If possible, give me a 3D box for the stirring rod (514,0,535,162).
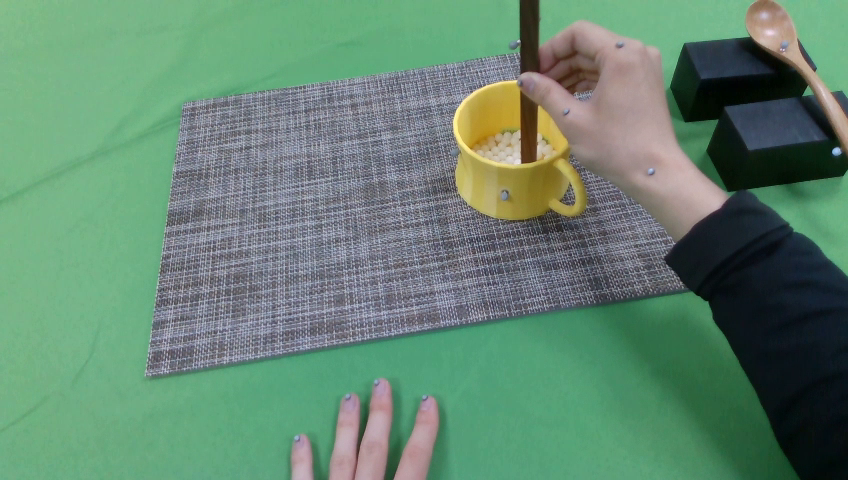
[{"bbox_3d":[0.075,-0.113,0.453,0.014,0.178,0.006,14,55,20],"label":"stirring rod"}]

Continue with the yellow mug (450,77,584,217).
[{"bbox_3d":[0.082,-0.069,0.497,0.100,0.064,0.129,-35,61,-19],"label":"yellow mug"}]

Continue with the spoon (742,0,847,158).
[{"bbox_3d":[0.312,-0.132,0.494,0.041,0.022,0.191,-8,57,-2],"label":"spoon"}]
